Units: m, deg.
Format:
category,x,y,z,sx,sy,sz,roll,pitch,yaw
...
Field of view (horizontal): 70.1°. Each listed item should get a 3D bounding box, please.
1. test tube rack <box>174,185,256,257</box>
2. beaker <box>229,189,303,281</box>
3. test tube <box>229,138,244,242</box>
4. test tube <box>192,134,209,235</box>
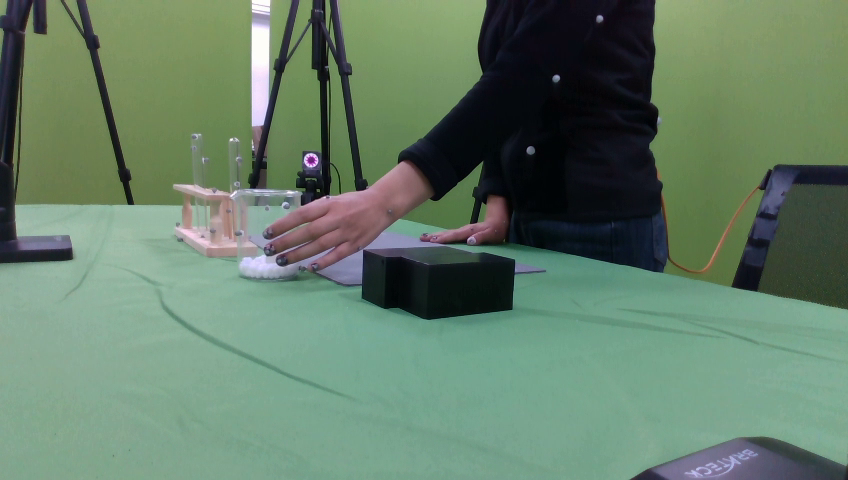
category,x,y,z,sx,sy,sz,roll,pitch,yaw
test tube rack,-0.324,-0.035,0.922,0.067,0.085,0.241,-3,9,-31
beaker,-0.181,-0.007,0.695,0.084,0.100,0.073,-4,9,-36
test tube,-0.269,-0.071,0.867,0.017,0.150,0.017,0,9,0
test tube,-0.332,-0.082,0.898,0.017,0.150,0.017,-1,6,0
